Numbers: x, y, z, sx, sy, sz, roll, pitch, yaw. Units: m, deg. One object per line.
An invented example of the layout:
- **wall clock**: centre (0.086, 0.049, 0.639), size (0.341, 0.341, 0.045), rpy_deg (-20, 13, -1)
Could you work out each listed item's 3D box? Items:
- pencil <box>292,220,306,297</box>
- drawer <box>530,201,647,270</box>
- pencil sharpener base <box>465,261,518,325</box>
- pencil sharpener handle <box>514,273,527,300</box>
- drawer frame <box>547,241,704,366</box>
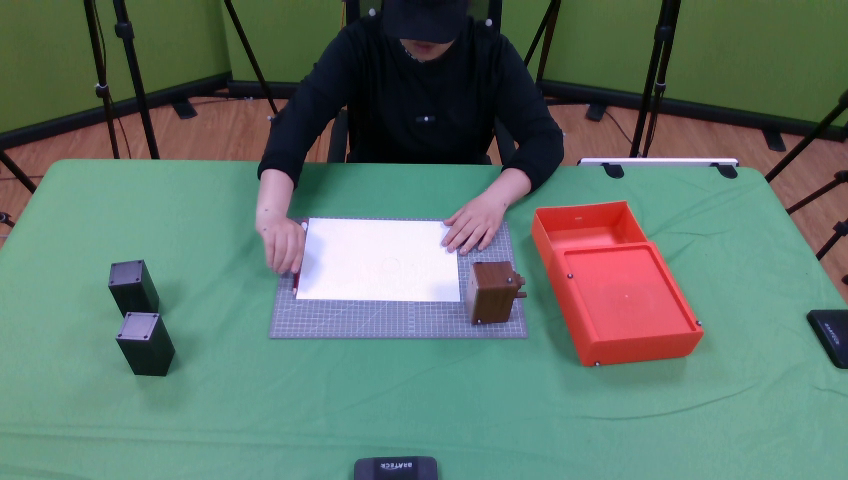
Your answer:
- **pencil**: centre (-0.239, 0.032, 1.152), size (0.012, 0.012, 0.193), rpy_deg (0, 47, -4)
- **drawer**: centre (0.329, 0.025, 1.159), size (0.195, 0.073, 0.210), rpy_deg (-5, 47, -9)
- **pencil sharpener base**: centre (0.117, 0.093, 1.052), size (0.077, 0.107, 0.061), rpy_deg (-3, 46, -7)
- **pencil sharpener handle**: centre (0.169, 0.081, 1.051), size (0.031, 0.068, 0.035), rpy_deg (-3, 49, -7)
- **drawer frame**: centre (0.348, 0.106, 1.077), size (0.202, 0.083, 0.212), rpy_deg (-4, 47, -9)
